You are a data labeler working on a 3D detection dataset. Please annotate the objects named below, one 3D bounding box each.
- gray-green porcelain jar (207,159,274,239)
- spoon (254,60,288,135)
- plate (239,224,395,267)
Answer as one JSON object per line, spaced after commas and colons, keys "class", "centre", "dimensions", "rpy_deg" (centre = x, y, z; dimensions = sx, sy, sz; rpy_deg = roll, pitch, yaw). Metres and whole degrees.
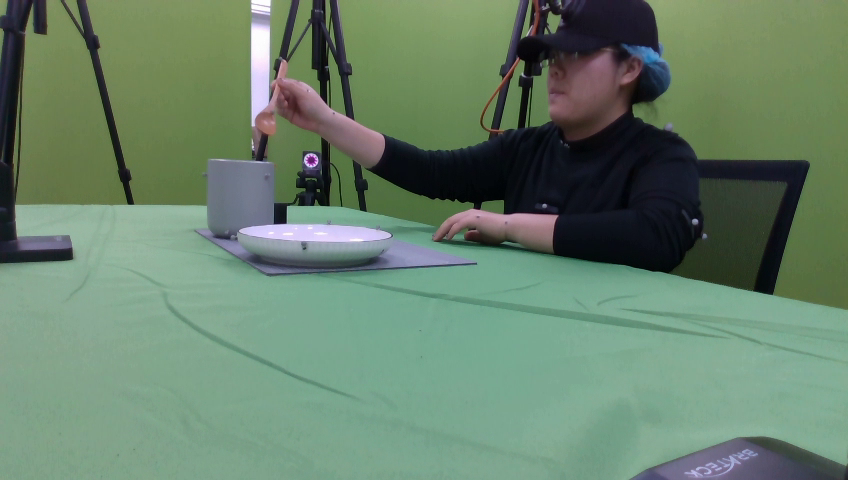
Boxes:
{"class": "gray-green porcelain jar", "centre": [-0.304, -0.068, 1.004], "dimensions": [0.106, 0.126, 0.106], "rpy_deg": [3, 7, 0]}
{"class": "spoon", "centre": [-0.277, -0.268, 1.127], "dimensions": [0.042, 0.193, 0.021], "rpy_deg": [27, -35, -27]}
{"class": "plate", "centre": [-0.144, 0.007, 0.823], "dimensions": [0.208, 0.039, 0.207], "rpy_deg": [3, 7, 0]}
